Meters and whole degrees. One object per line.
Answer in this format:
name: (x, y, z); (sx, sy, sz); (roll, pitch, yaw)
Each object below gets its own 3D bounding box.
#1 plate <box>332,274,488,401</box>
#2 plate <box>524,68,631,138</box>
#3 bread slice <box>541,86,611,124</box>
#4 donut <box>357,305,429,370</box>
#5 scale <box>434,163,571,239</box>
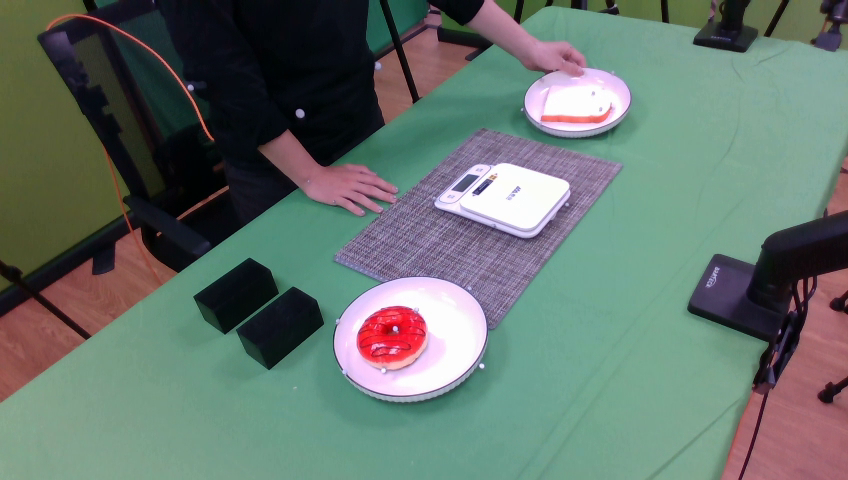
plate: (-0.017, 0.130, 0.808); (0.207, 0.039, 0.206); (-4, 41, 4)
plate: (0.306, -0.271, 1.213); (0.209, 0.038, 0.208); (-5, 49, 6)
bread slice: (0.309, -0.273, 1.217); (0.131, 0.019, 0.104); (7, 52, 16)
donut: (-0.041, 0.127, 0.798); (0.099, 0.048, 0.098); (-7, 40, 7)
scale: (0.132, -0.075, 1.025); (0.199, 0.032, 0.149); (22, 48, 30)
